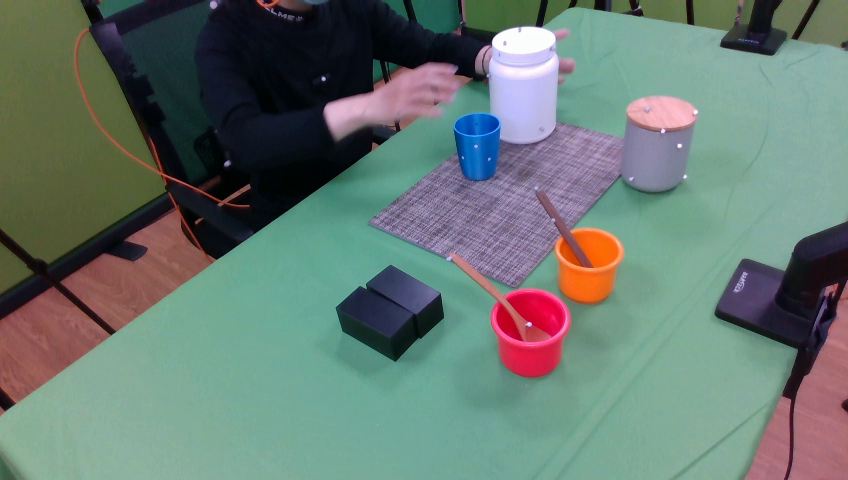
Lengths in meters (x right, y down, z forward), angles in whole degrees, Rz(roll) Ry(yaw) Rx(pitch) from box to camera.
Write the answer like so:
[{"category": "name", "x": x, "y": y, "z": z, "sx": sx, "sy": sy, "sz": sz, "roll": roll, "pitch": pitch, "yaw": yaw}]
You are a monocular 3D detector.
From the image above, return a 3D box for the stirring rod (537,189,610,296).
[{"category": "stirring rod", "x": 0.211, "y": 0.003, "z": 0.855, "sx": 0.014, "sy": 0.006, "sz": 0.176, "roll": -32, "pitch": 88, "yaw": -30}]

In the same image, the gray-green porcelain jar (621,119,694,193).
[{"category": "gray-green porcelain jar", "x": 0.389, "y": -0.152, "z": 1.016, "sx": 0.106, "sy": 0.127, "sz": 0.105, "roll": -4, "pitch": 40, "yaw": 4}]

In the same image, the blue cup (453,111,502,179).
[{"category": "blue cup", "x": 0.097, "y": -0.166, "z": 1.089, "sx": 0.092, "sy": 0.100, "sz": 0.092, "roll": -3, "pitch": 40, "yaw": 3}]

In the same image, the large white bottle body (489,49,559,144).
[{"category": "large white bottle body", "x": 0.191, "y": -0.294, "z": 1.159, "sx": 0.130, "sy": 0.185, "sz": 0.130, "roll": -4, "pitch": 41, "yaw": 4}]

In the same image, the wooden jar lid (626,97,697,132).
[{"category": "wooden jar lid", "x": 0.381, "y": -0.198, "z": 0.976, "sx": 0.108, "sy": 0.021, "sz": 0.108, "roll": -2, "pitch": 40, "yaw": 3}]

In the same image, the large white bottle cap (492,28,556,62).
[{"category": "large white bottle cap", "x": 0.183, "y": -0.358, "z": 1.104, "sx": 0.115, "sy": 0.018, "sz": 0.114, "roll": -4, "pitch": 41, "yaw": 4}]

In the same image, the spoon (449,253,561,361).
[{"category": "spoon", "x": 0.103, "y": 0.083, "z": 0.770, "sx": 0.194, "sy": 0.021, "sz": 0.042, "roll": 47, "pitch": 52, "yaw": -7}]
